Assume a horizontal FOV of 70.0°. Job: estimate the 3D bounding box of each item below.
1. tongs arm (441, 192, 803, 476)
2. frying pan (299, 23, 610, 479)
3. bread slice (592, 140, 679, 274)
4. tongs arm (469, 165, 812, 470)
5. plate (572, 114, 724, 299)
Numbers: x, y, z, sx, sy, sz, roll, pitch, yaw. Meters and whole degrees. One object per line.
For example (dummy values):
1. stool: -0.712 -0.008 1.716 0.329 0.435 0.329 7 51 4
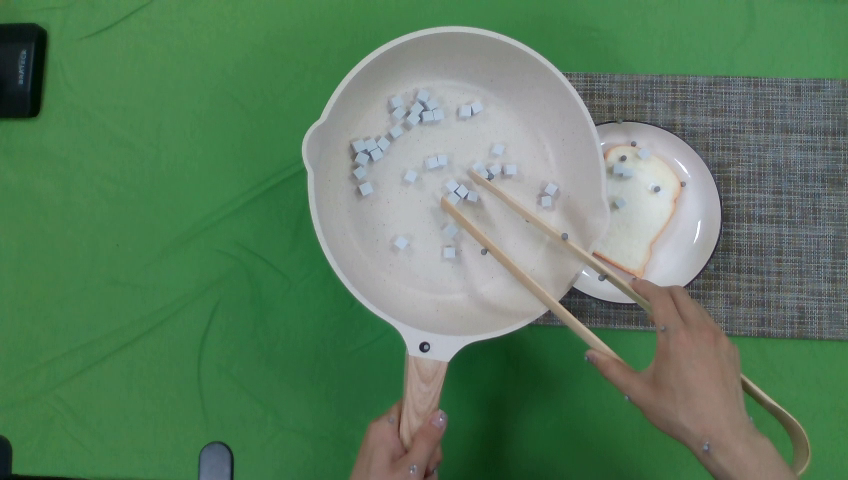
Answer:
1. tongs arm: 0.157 0.076 0.549 0.385 0.028 0.028 41 74 17
2. frying pan: 0.013 0.046 0.573 0.308 0.102 0.486 13 80 -14
3. bread slice: 0.222 -0.045 0.687 0.107 0.018 0.134 26 89 5
4. tongs arm: 0.177 0.057 0.553 0.382 0.027 0.050 38 77 17
5. plate: 0.225 -0.037 0.684 0.207 0.039 0.207 0 84 4
